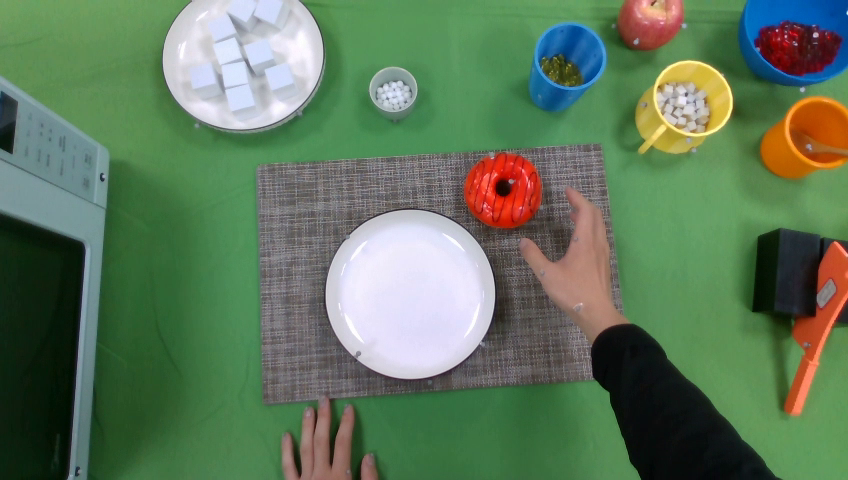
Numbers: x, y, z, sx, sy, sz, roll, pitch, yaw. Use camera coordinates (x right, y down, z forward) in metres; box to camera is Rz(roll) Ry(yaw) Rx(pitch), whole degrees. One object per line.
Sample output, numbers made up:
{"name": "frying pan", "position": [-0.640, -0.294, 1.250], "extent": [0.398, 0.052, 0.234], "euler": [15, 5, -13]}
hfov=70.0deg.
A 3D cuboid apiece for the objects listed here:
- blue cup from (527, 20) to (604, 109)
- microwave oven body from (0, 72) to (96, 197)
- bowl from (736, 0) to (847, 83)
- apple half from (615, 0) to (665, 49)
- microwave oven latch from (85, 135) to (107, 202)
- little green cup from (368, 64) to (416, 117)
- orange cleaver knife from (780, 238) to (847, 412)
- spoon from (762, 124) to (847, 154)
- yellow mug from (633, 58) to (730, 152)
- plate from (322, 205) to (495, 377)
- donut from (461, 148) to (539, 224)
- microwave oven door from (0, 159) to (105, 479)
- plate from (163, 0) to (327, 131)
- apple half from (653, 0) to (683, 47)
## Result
{"name": "blue cup", "position": [0.169, -0.211, 0.762], "extent": [0.093, 0.100, 0.092], "euler": [0, 81, -1]}
{"name": "microwave oven body", "position": [-0.554, 0.071, 0.616], "extent": [0.326, 0.261, 0.440], "euler": [-1, 81, -1]}
{"name": "bowl", "position": [0.469, -0.264, 0.787], "extent": [0.151, 0.077, 0.151], "euler": [0, 81, 0]}
{"name": "apple half", "position": [0.278, -0.293, 0.792], "extent": [0.053, 0.075, 0.080], "euler": [1, 83, 3]}
{"name": "microwave oven latch", "position": [-0.409, -0.087, 0.743], "extent": [0.030, 0.029, 0.079], "euler": [1, 81, -1]}
{"name": "little green cup", "position": [-0.041, -0.191, 0.786], "extent": [0.061, 0.039, 0.061], "euler": [0, 80, 0]}
{"name": "orange cleaver knife", "position": [0.460, 0.102, 0.721], "extent": [0.012, 0.077, 0.212], "euler": [11, 109, 4]}
{"name": "spoon", "position": [0.501, -0.105, 0.724], "extent": [0.041, 0.191, 0.022], "euler": [-46, 128, -8]}
{"name": "yellow mug", "position": [0.316, -0.161, 0.773], "extent": [0.099, 0.064, 0.131], "euler": [44, 84, 7]}
{"name": "plate", "position": [-0.019, 0.061, 0.739], "extent": [0.209, 0.038, 0.208], "euler": [0, 80, -1]}
{"name": "donut", "position": [0.096, -0.067, 0.760], "extent": [0.099, 0.048, 0.098], "euler": [0, 82, -1]}
{"name": "microwave oven door", "position": [-0.407, 0.110, 0.606], "extent": [0.039, 0.244, 0.354], "euler": [-1, 80, -1]}
{"name": "plate", "position": [-0.229, -0.238, 0.791], "extent": [0.208, 0.039, 0.207], "euler": [0, 80, -1]}
{"name": "apple half", "position": [0.317, -0.292, 0.790], "extent": [0.033, 0.081, 0.081], "euler": [2, 79, 3]}
